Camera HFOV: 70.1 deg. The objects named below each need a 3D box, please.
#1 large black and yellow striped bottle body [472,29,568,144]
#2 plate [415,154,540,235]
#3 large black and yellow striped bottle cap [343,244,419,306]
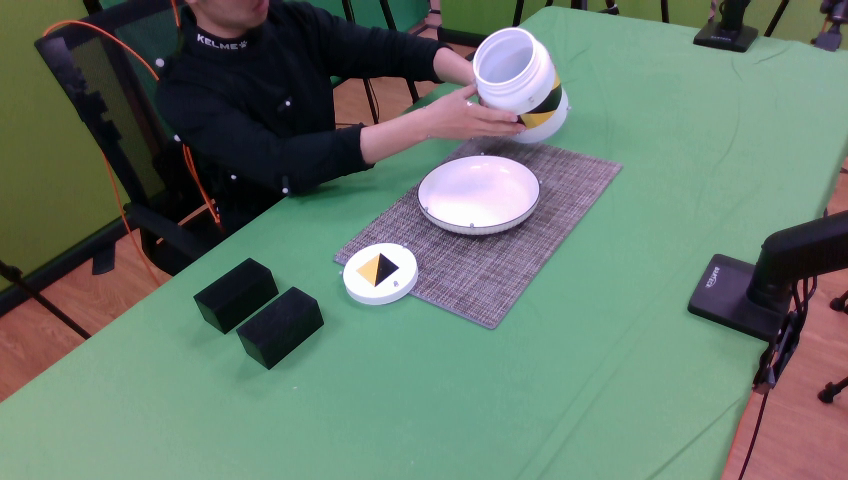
[{"bbox_3d":[0.168,-0.265,1.053,0.130,0.185,0.130,-10,66,24],"label":"large black and yellow striped bottle body"},{"bbox_3d":[0.090,-0.074,1.025,0.207,0.039,0.206,-4,41,4],"label":"plate"},{"bbox_3d":[-0.066,0.051,0.918,0.115,0.019,0.114,-6,43,6],"label":"large black and yellow striped bottle cap"}]
